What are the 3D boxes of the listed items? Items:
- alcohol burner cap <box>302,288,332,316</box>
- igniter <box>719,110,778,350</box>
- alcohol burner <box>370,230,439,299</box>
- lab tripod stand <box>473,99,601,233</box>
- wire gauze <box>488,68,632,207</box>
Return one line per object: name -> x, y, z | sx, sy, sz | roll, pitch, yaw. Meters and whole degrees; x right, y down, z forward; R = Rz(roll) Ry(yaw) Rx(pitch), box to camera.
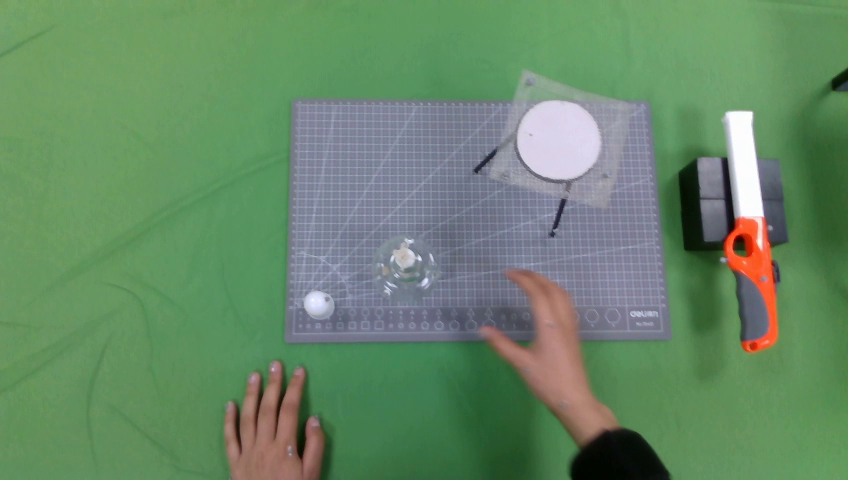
alcohol burner cap -> -0.122, 0.068, 0.682 | 0.034, 0.048, 0.033 | 1, 79, -3
igniter -> 0.364, -0.016, 0.685 | 0.057, 0.025, 0.275 | 0, 78, 3
alcohol burner -> -0.021, 0.025, 0.659 | 0.078, 0.119, 0.077 | 0, 80, -2
lab tripod stand -> 0.135, -0.092, 0.679 | 0.148, 0.132, 0.147 | 1, 77, -2
wire gauze -> 0.140, -0.104, 0.613 | 0.121, 0.011, 0.124 | 18, 77, 1
